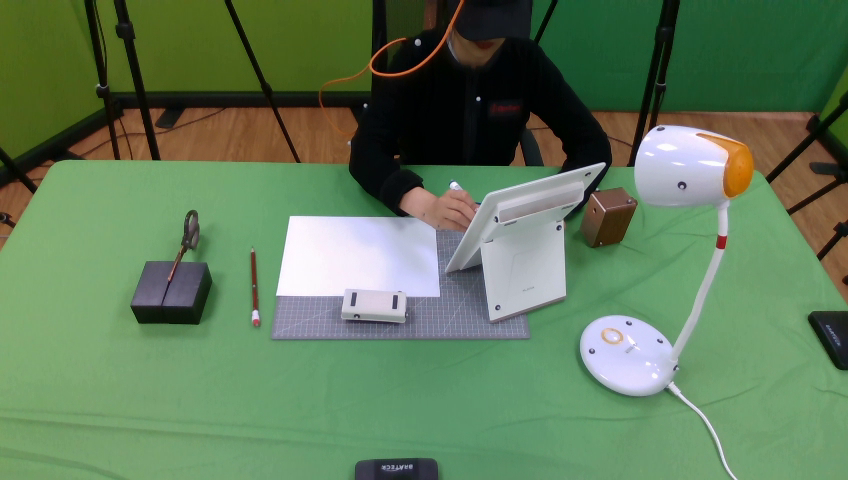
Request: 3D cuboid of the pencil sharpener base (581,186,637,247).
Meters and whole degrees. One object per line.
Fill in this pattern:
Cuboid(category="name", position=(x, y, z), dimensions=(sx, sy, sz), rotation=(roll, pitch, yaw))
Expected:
Cuboid(category="pencil sharpener base", position=(0.369, -0.047, 1.209), dimensions=(0.077, 0.107, 0.061), rotation=(-11, 47, -15))

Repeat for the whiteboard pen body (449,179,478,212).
Cuboid(category="whiteboard pen body", position=(0.084, -0.065, 1.078), dimensions=(0.017, 0.017, 0.140), rotation=(-20, 48, -21))

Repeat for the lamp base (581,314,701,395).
Cuboid(category="lamp base", position=(0.361, 0.144, 0.973), dimensions=(0.178, 0.181, 0.160), rotation=(34, 53, 23))

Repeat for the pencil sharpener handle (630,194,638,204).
Cuboid(category="pencil sharpener handle", position=(0.417, -0.068, 1.215), dimensions=(0.031, 0.068, 0.036), rotation=(-11, 60, -14))

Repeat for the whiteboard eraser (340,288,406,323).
Cuboid(category="whiteboard eraser", position=(-0.088, 0.117, 1.060), dimensions=(0.113, 0.042, 0.055), rotation=(3, 45, -1))

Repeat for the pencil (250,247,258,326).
Cuboid(category="pencil", position=(-0.312, 0.079, 1.107), dimensions=(0.012, 0.012, 0.192), rotation=(-7, 46, -11))

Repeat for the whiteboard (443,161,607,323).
Cuboid(category="whiteboard", position=(0.185, 0.025, 1.029), dimensions=(0.217, 0.306, 0.143), rotation=(-15, 68, -18))

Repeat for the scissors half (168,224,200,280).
Cuboid(category="scissors half", position=(-0.440, 0.023, 1.111), dimensions=(0.013, 0.040, 0.174), rotation=(7, 29, -6))

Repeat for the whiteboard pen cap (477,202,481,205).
Cuboid(category="whiteboard pen cap", position=(0.113, -0.073, 1.279), dimensions=(0.033, 0.018, 0.018), rotation=(4, 46, 6))

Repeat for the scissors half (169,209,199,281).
Cuboid(category="scissors half", position=(-0.437, 0.007, 1.098), dimensions=(0.013, 0.040, 0.174), rotation=(3, 48, -3))

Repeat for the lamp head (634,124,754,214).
Cuboid(category="lamp head", position=(0.351, -0.089, 0.776), dimensions=(0.112, 0.113, 0.122), rotation=(-30, 30, -28))
